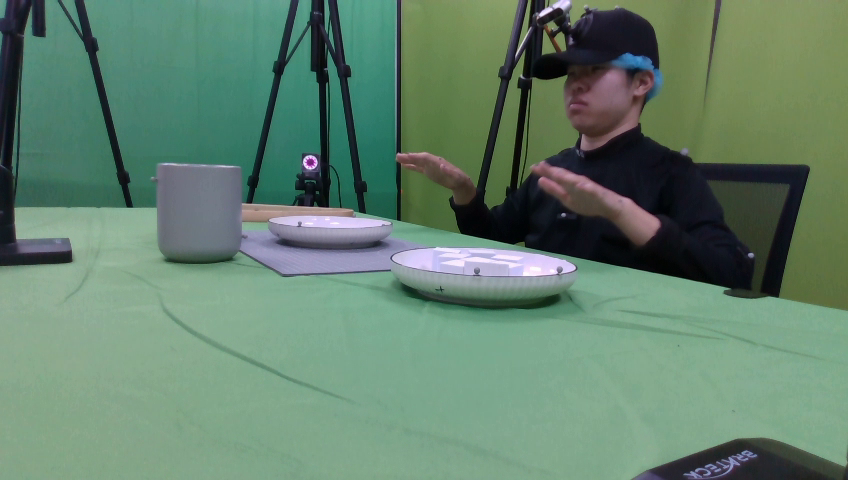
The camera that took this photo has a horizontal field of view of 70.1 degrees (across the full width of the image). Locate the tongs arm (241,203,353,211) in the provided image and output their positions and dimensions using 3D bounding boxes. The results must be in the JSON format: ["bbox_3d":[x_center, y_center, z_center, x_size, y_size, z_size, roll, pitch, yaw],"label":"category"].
[{"bbox_3d":[-0.361,-0.069,1.406,0.386,0.026,0.050,1,8,-14],"label":"tongs arm"}]

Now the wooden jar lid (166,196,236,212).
[{"bbox_3d":[-0.369,-0.059,1.001,0.108,0.020,0.108,3,6,0],"label":"wooden jar lid"}]

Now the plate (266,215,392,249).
[{"bbox_3d":[-0.159,-0.015,1.019,0.209,0.038,0.209,3,7,0],"label":"plate"}]

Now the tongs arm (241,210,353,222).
[{"bbox_3d":[-0.337,-0.053,1.329,0.389,0.028,0.028,-1,6,-27],"label":"tongs arm"}]

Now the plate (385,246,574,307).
[{"bbox_3d":[0.060,0.041,0.678,0.208,0.039,0.207,3,7,0],"label":"plate"}]

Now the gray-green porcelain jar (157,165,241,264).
[{"bbox_3d":[-0.300,-0.036,0.811,0.106,0.126,0.106,2,8,0],"label":"gray-green porcelain jar"}]
